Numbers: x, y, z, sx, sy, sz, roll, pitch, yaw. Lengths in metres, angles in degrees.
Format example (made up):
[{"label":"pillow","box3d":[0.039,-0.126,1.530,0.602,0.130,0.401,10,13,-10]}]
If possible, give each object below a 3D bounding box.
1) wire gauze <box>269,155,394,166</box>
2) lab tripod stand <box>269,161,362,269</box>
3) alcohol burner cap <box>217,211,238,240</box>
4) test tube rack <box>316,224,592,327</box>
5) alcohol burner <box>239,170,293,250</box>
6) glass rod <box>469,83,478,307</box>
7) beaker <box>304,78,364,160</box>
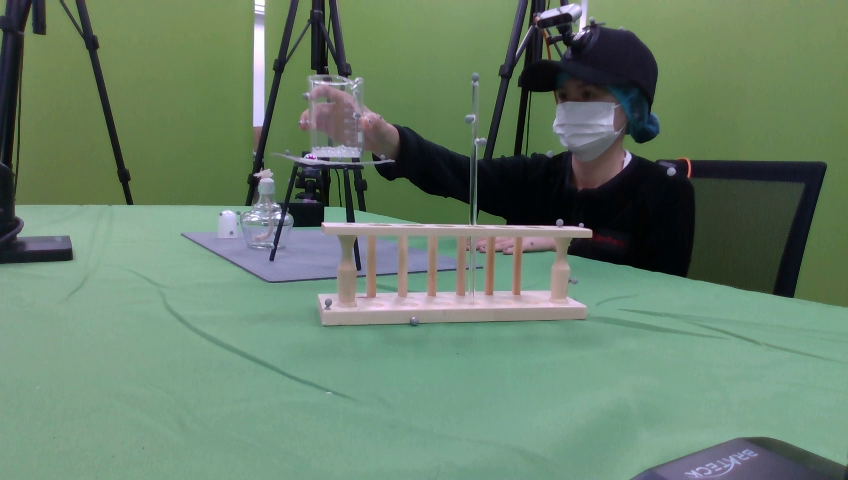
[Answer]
[{"label":"wire gauze","box3d":[-0.121,-0.102,0.785,0.122,0.011,0.124,-3,10,-38]},{"label":"lab tripod stand","box3d":[-0.125,-0.036,0.794,0.148,0.131,0.148,5,7,0]},{"label":"alcohol burner cap","box3d":[-0.322,-0.024,0.994,0.034,0.048,0.034,3,8,0]},{"label":"test tube rack","box3d":[0.026,0.028,0.555,0.243,0.085,0.066,1,7,-14]},{"label":"alcohol burner","box3d":[-0.237,-0.045,0.904,0.078,0.119,0.078,1,8,0]},{"label":"glass rod","box3d":[0.043,-0.033,0.523,0.008,0.199,0.008,-1,14,1]},{"label":"beaker","box3d":[-0.112,-0.154,0.780,0.074,0.100,0.083,-6,12,-39]}]
